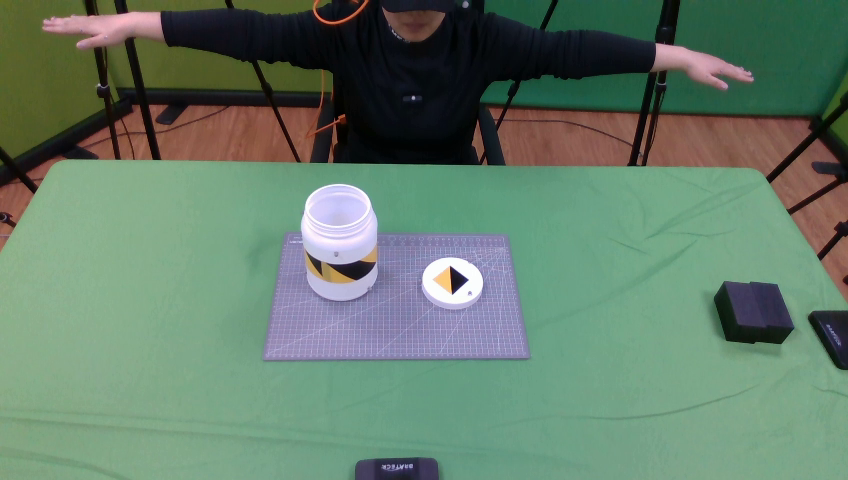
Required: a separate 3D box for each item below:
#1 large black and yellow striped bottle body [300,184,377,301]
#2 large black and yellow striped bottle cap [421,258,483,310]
[{"bbox_3d":[-0.148,0.004,1.067,0.131,0.185,0.130,2,46,-2],"label":"large black and yellow striped bottle body"},{"bbox_3d":[0.053,0.080,1.126,0.115,0.019,0.114,2,45,-1],"label":"large black and yellow striped bottle cap"}]
